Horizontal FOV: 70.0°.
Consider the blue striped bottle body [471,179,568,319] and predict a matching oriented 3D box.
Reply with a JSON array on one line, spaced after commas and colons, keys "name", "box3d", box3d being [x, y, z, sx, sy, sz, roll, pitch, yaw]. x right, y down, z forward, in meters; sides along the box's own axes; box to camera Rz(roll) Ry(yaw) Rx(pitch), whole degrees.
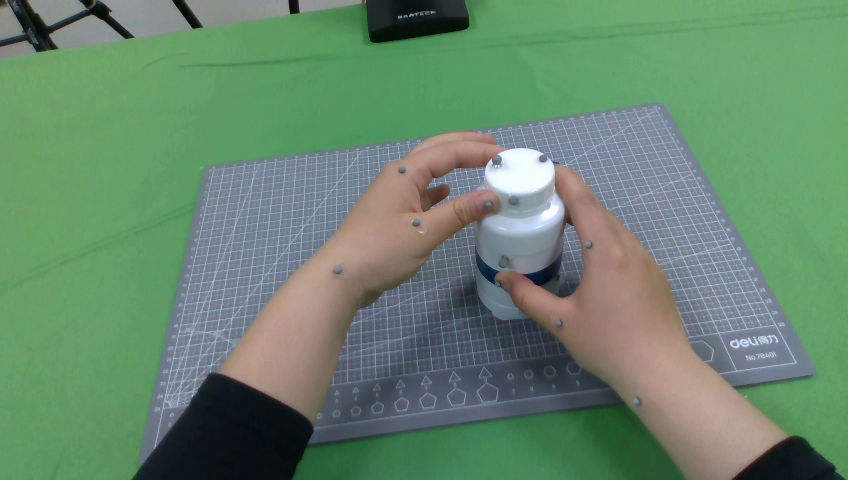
[{"name": "blue striped bottle body", "box3d": [0.065, -0.003, 0.417, 0.063, 0.122, 0.062, -4, 49, 4]}]

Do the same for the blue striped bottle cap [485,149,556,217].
[{"name": "blue striped bottle cap", "box3d": [0.060, -0.036, 0.378, 0.044, 0.021, 0.044, -5, 47, 5]}]
